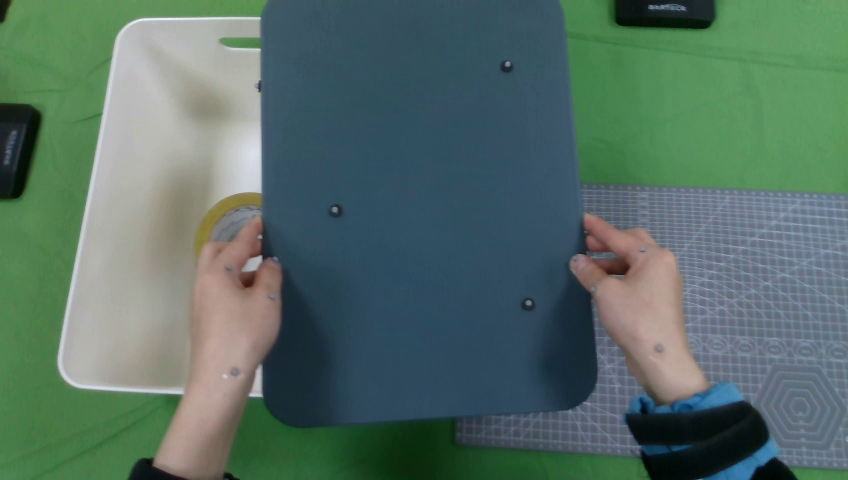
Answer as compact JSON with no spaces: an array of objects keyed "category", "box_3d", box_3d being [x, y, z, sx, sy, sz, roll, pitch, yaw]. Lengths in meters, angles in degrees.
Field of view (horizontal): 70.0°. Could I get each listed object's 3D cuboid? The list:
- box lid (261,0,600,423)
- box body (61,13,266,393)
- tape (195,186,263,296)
[{"category":"box lid","box_3d":[0.000,-0.046,0.499,0.263,0.015,0.370,-3,80,-4]},{"category":"box body","box_3d":[-0.177,-0.027,0.627,0.254,0.161,0.362,1,75,2]},{"category":"tape","box_3d":[-0.187,0.003,0.670,0.117,0.053,0.116,0,76,2]}]
